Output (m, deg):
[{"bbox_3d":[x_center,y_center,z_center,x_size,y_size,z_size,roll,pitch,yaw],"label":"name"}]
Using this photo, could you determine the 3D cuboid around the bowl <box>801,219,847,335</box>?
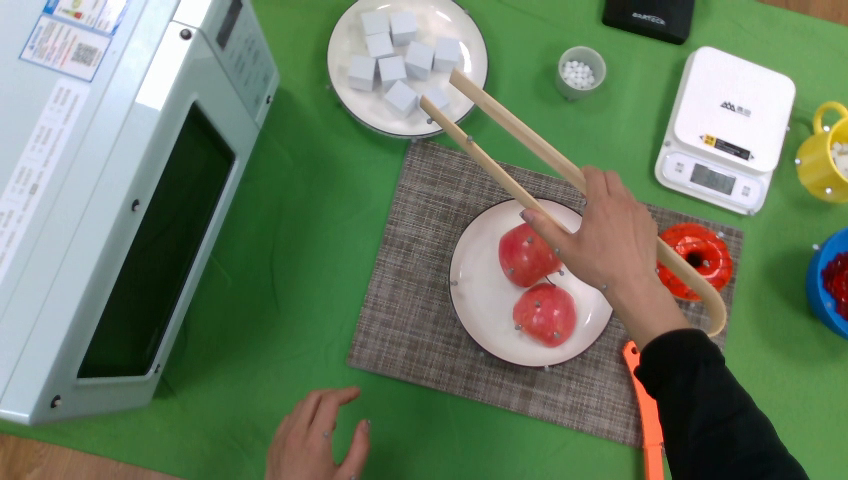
[{"bbox_3d":[0.530,0.050,0.752,0.151,0.077,0.151,1,80,-3],"label":"bowl"}]

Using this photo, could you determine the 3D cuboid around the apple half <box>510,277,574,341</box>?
[{"bbox_3d":[0.146,0.080,0.733,0.081,0.033,0.081,0,81,1],"label":"apple half"}]

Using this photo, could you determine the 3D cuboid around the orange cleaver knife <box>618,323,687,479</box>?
[{"bbox_3d":[0.283,0.207,0.735,0.077,0.012,0.210,-1,79,-9],"label":"orange cleaver knife"}]

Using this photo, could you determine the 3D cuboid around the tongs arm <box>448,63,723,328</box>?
[{"bbox_3d":[0.164,-0.054,0.640,0.386,0.028,0.028,44,64,8],"label":"tongs arm"}]

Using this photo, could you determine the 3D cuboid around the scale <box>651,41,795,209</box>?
[{"bbox_3d":[0.396,-0.153,0.803,0.148,0.031,0.200,20,80,1],"label":"scale"}]

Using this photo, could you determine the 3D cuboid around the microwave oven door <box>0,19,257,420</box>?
[{"bbox_3d":[-0.272,-0.006,0.611,0.039,0.244,0.354,18,79,0],"label":"microwave oven door"}]

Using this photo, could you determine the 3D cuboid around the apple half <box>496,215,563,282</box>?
[{"bbox_3d":[0.129,0.007,0.736,0.081,0.053,0.074,-23,78,-8],"label":"apple half"}]

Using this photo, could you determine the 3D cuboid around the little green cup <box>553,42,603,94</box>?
[{"bbox_3d":[0.201,-0.225,0.800,0.061,0.039,0.061,1,79,-3],"label":"little green cup"}]

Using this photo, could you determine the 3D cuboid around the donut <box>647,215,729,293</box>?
[{"bbox_3d":[0.329,0.018,0.759,0.099,0.048,0.098,0,80,-1],"label":"donut"}]

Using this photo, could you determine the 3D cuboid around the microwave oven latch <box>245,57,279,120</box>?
[{"bbox_3d":[-0.206,-0.191,0.751,0.030,0.029,0.079,20,80,0],"label":"microwave oven latch"}]

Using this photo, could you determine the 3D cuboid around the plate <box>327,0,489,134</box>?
[{"bbox_3d":[-0.020,-0.233,0.788,0.208,0.039,0.207,1,80,-3],"label":"plate"}]

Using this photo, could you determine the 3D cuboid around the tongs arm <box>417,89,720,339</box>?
[{"bbox_3d":[0.142,-0.034,0.628,0.050,0.026,0.383,-40,80,-22],"label":"tongs arm"}]

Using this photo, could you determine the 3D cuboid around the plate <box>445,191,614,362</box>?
[{"bbox_3d":[0.127,0.044,0.745,0.209,0.038,0.208,1,80,-4],"label":"plate"}]

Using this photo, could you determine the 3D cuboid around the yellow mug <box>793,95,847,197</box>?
[{"bbox_3d":[0.543,-0.128,0.790,0.100,0.064,0.130,-16,81,-5],"label":"yellow mug"}]

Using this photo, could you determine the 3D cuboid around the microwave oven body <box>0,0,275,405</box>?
[{"bbox_3d":[-0.397,-0.091,0.624,0.326,0.261,0.440,18,80,0],"label":"microwave oven body"}]
